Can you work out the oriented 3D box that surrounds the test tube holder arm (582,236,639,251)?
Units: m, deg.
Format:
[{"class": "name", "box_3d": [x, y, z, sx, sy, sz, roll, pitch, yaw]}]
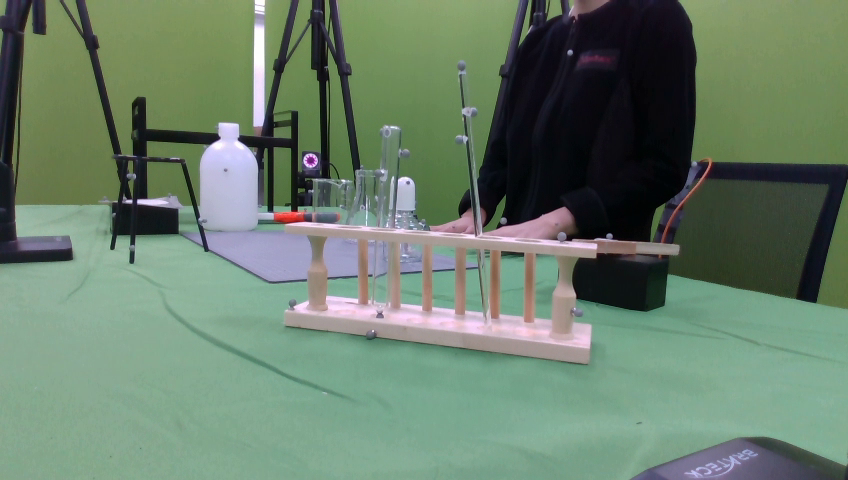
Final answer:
[{"class": "test tube holder arm", "box_3d": [0.194, 0.004, 0.629, 0.088, 0.015, 0.010, 2, 13, -38]}]

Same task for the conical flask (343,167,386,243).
[{"class": "conical flask", "box_3d": [-0.096, -0.059, 1.001, 0.075, 0.122, 0.075, 2, 8, 0]}]

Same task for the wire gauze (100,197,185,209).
[{"class": "wire gauze", "box_3d": [-0.469, -0.062, 1.008, 0.126, 0.011, 0.121, -2, 8, -25]}]

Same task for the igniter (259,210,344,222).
[{"class": "igniter", "box_3d": [-0.303, -0.049, 1.258, 0.278, 0.025, 0.057, -2, -2, -28]}]

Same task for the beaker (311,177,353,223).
[{"class": "beaker", "box_3d": [-0.167, -0.064, 1.106, 0.074, 0.100, 0.083, -2, 9, -27]}]

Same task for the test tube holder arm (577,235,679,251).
[{"class": "test tube holder arm", "box_3d": [0.227, 0.004, 0.661, 0.179, 0.015, 0.013, 1, 13, -39]}]

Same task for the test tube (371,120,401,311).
[{"class": "test tube", "box_3d": [-0.030, -0.018, 0.474, 0.017, 0.150, 0.017, 4, 5, 0]}]

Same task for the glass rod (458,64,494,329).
[{"class": "glass rod", "box_3d": [0.039, -0.029, 0.449, 0.008, 0.199, 0.008, -7, 9, 1]}]

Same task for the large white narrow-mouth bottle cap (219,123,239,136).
[{"class": "large white narrow-mouth bottle cap", "box_3d": [-0.356, -0.201, 1.104, 0.038, 0.024, 0.037, 2, 8, 0]}]

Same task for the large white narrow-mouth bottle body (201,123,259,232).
[{"class": "large white narrow-mouth bottle body", "box_3d": [-0.358, -0.116, 1.116, 0.102, 0.194, 0.102, 2, 8, 0]}]

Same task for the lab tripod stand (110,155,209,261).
[{"class": "lab tripod stand", "box_3d": [-0.361, -0.046, 0.806, 0.148, 0.131, 0.148, 2, 5, 0]}]

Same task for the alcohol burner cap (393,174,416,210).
[{"class": "alcohol burner cap", "box_3d": [-0.025, -0.067, 0.833, 0.034, 0.048, 0.034, 4, 12, -1]}]

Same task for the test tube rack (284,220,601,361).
[{"class": "test tube rack", "box_3d": [0.013, 0.032, 0.482, 0.242, 0.085, 0.067, 4, 7, 16]}]

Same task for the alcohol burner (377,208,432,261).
[{"class": "alcohol burner", "box_3d": [-0.027, -0.031, 0.838, 0.078, 0.119, 0.078, 0, 6, 0]}]
